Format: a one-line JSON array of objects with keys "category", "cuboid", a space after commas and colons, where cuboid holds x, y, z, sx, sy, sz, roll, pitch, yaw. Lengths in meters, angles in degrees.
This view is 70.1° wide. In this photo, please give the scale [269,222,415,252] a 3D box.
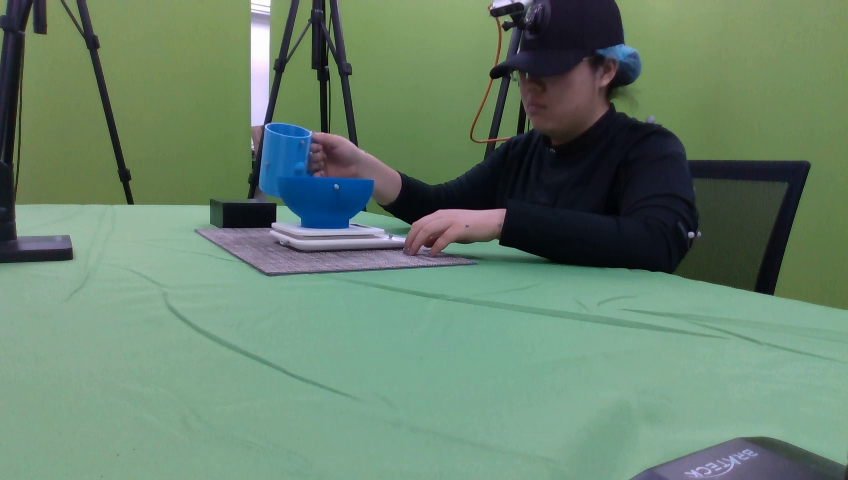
[{"category": "scale", "cuboid": [-0.130, -0.008, 0.958, 0.202, 0.031, 0.148, -1, 9, -32]}]

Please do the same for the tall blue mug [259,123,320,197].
[{"category": "tall blue mug", "cuboid": [-0.233, -0.140, 1.040, 0.078, 0.108, 0.107, 14, 23, 5]}]

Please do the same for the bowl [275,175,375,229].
[{"category": "bowl", "cuboid": [-0.152, -0.058, 0.932, 0.151, 0.077, 0.151, 2, 7, 0]}]
